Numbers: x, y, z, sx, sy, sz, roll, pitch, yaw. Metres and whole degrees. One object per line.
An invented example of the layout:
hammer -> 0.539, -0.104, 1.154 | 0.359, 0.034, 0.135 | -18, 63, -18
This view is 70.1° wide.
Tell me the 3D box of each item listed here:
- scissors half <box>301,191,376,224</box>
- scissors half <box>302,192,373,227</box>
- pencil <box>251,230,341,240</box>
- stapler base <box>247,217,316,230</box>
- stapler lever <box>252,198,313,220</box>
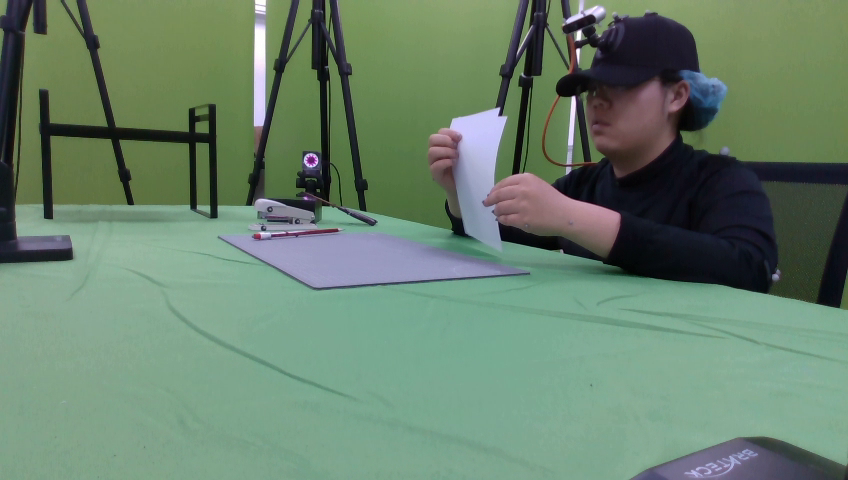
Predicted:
scissors half -> -0.189, -0.073, 1.333 | 0.175, 0.013, 0.040 | 22, 11, -10
scissors half -> -0.191, -0.069, 1.314 | 0.175, 0.013, 0.040 | 26, 16, 7
pencil -> -0.215, -0.011, 1.049 | 0.012, 0.012, 0.195 | 9, 9, 39
stapler base -> -0.276, -0.033, 1.172 | 0.131, 0.024, 0.041 | 0, 10, -37
stapler lever -> -0.273, -0.058, 1.170 | 0.119, 0.040, 0.026 | 0, 10, -37
